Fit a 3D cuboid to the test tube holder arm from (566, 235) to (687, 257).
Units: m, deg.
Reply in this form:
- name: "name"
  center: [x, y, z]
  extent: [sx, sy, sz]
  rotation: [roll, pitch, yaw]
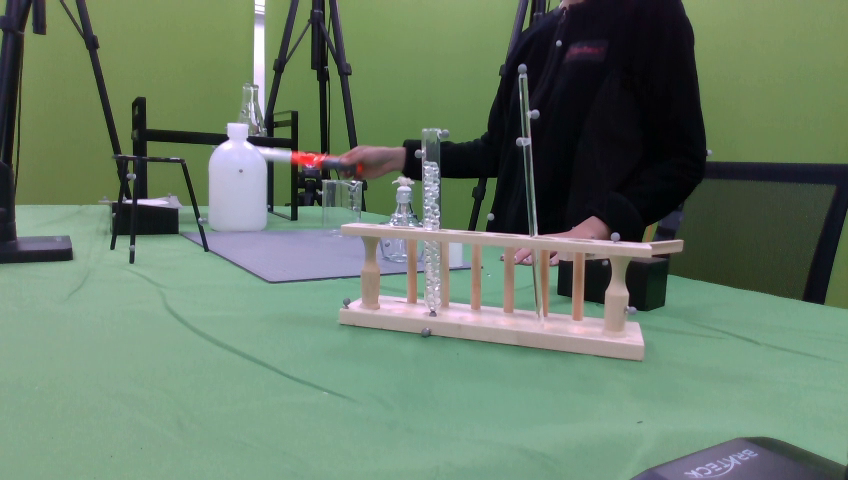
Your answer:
- name: "test tube holder arm"
  center: [0.215, 0.006, 0.630]
  extent: [0.179, 0.015, 0.013]
  rotation: [-3, 9, -31]

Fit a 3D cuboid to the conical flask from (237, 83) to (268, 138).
- name: "conical flask"
  center: [-0.402, -0.299, 1.406]
  extent: [0.075, 0.122, 0.075]
  rotation: [2, 7, 0]

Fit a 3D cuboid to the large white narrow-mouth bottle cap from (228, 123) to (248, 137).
- name: "large white narrow-mouth bottle cap"
  center: [-0.338, -0.199, 1.097]
  extent: [0.038, 0.024, 0.037]
  rotation: [2, 8, 0]

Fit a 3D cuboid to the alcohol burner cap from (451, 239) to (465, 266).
- name: "alcohol burner cap"
  center: [0.041, 0.010, 0.815]
  extent: [0.034, 0.048, 0.034]
  rotation: [4, 8, 0]

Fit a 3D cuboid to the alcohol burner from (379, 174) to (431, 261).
- name: "alcohol burner"
  center: [-0.027, -0.031, 0.838]
  extent: [0.078, 0.119, 0.078]
  rotation: [0, 6, 0]

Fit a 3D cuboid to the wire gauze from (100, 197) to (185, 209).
- name: "wire gauze"
  center: [-0.469, -0.062, 1.008]
  extent: [0.126, 0.011, 0.121]
  rotation: [-2, 8, -25]

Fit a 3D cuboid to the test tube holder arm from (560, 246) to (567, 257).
- name: "test tube holder arm"
  center: [0.173, 0.007, 0.611]
  extent: [0.088, 0.015, 0.010]
  rotation: [-3, 9, -30]

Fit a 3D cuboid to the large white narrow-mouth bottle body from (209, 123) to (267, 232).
- name: "large white narrow-mouth bottle body"
  center: [-0.340, -0.115, 1.109]
  extent: [0.102, 0.194, 0.102]
  rotation: [2, 8, 0]

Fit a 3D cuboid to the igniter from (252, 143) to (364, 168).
- name: "igniter"
  center: [-0.261, -0.178, 1.251]
  extent: [0.278, 0.025, 0.057]
  rotation: [5, 23, -18]

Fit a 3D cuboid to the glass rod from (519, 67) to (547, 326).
- name: "glass rod"
  center: [0.083, -0.028, 0.458]
  extent: [0.008, 0.199, 0.008]
  rotation: [-6, 11, 1]

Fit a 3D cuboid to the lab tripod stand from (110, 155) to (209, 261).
- name: "lab tripod stand"
  center: [-0.361, -0.046, 0.806]
  extent: [0.148, 0.131, 0.148]
  rotation: [2, 5, 0]

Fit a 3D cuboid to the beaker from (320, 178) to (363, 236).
- name: "beaker"
  center: [-0.145, -0.059, 1.079]
  extent: [0.074, 0.100, 0.083]
  rotation: [-4, 10, -35]

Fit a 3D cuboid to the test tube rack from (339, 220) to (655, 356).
- name: "test tube rack"
  center: [0.056, 0.032, 0.495]
  extent: [0.242, 0.085, 0.067]
  rotation: [4, 7, 15]

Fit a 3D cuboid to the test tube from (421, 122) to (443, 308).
- name: "test tube"
  center: [0.007, -0.019, 0.486]
  extent: [0.017, 0.150, 0.017]
  rotation: [-1, 8, 0]
